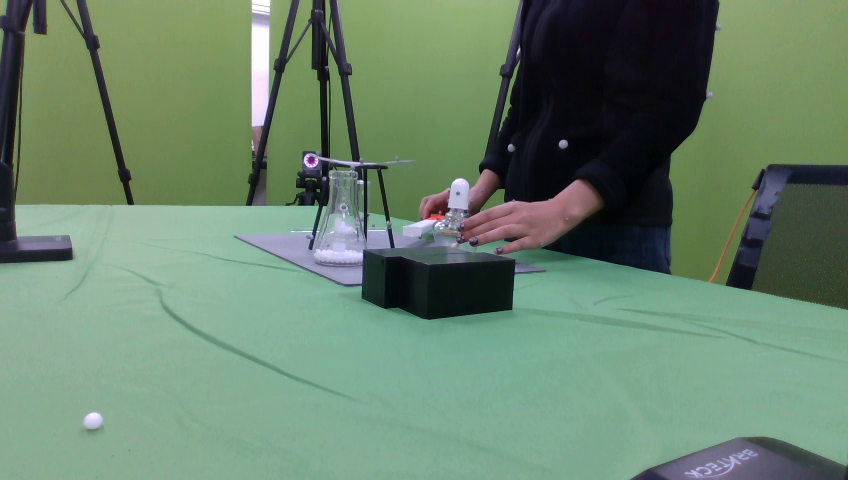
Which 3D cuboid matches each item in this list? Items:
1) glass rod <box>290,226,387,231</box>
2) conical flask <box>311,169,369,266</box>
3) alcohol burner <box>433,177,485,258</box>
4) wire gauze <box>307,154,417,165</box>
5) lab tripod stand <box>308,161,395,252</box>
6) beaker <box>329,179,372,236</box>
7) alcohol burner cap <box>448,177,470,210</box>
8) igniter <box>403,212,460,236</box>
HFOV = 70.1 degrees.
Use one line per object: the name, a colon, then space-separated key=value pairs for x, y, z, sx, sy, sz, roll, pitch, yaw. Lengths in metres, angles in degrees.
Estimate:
glass rod: x=-0.161 y=-0.023 z=1.177 sx=0.201 sy=0.008 sz=0.008 roll=-2 pitch=8 yaw=-28
conical flask: x=-0.107 y=-0.031 z=0.786 sx=0.075 sy=0.122 sz=0.075 roll=2 pitch=8 yaw=0
alcohol burner: x=0.052 y=-0.033 z=0.894 sx=0.078 sy=0.119 sz=0.078 roll=2 pitch=9 yaw=0
wire gauze: x=-0.094 y=-0.120 z=0.913 sx=0.122 sy=0.011 sz=0.124 roll=-5 pitch=11 yaw=-45
lab tripod stand: x=-0.098 y=-0.053 z=0.919 sx=0.148 sy=0.131 sz=0.148 roll=4 pitch=7 yaw=0
beaker: x=-0.137 y=-0.061 z=1.101 sx=0.084 sy=0.100 sz=0.074 roll=4 pitch=7 yaw=20
alcohol burner cap: x=0.052 y=-0.069 z=0.889 sx=0.034 sy=0.048 sz=0.034 roll=4 pitch=3 yaw=0
igniter: x=0.018 y=-0.031 z=1.099 sx=0.057 sy=0.025 sz=0.277 roll=2 pitch=7 yaw=15
